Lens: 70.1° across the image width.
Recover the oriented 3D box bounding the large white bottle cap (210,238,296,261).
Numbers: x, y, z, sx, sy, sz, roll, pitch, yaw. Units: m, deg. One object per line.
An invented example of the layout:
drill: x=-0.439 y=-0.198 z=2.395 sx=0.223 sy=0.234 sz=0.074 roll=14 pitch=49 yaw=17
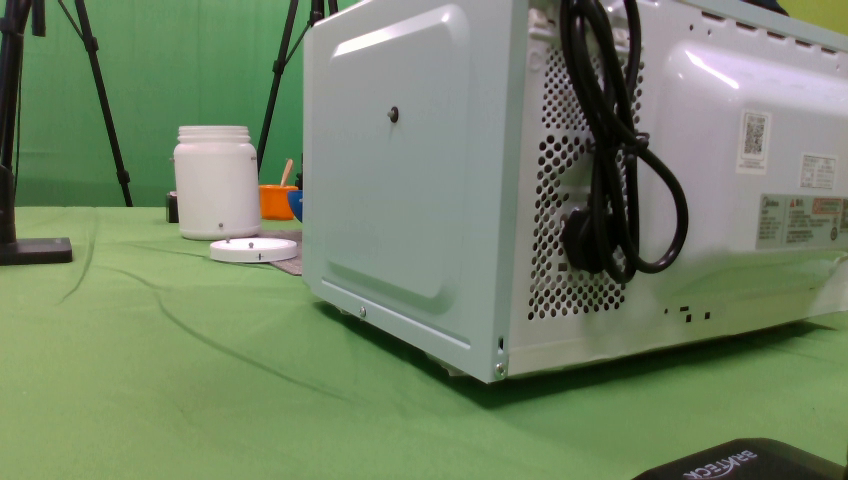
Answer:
large white bottle cap: x=-0.236 y=0.012 z=0.839 sx=0.115 sy=0.018 sz=0.115 roll=1 pitch=7 yaw=0

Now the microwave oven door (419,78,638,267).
microwave oven door: x=0.133 y=-0.105 z=0.894 sx=0.354 sy=0.243 sz=0.039 roll=9 pitch=10 yaw=43

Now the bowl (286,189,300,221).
bowl: x=-0.179 y=-0.051 z=1.115 sx=0.151 sy=0.077 sz=0.151 roll=3 pitch=8 yaw=0

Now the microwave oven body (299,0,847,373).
microwave oven body: x=0.152 y=-0.055 z=0.542 sx=0.444 sy=0.260 sz=0.324 roll=-2 pitch=7 yaw=-33

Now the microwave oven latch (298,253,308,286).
microwave oven latch: x=-0.081 y=0.027 z=0.582 sx=0.079 sy=0.029 sz=0.030 roll=-1 pitch=7 yaw=-32

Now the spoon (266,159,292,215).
spoon: x=-0.334 y=-0.127 z=1.423 sx=0.041 sy=0.193 sz=0.022 roll=0 pitch=-38 yaw=7

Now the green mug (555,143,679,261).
green mug: x=0.181 y=-0.036 z=0.583 sx=0.093 sy=0.105 sz=0.124 roll=-1 pitch=4 yaw=-44

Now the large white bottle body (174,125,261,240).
large white bottle body: x=-0.349 y=-0.100 z=1.025 sx=0.131 sy=0.184 sz=0.130 roll=-1 pitch=9 yaw=0

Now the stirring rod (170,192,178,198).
stirring rod: x=-0.466 y=-0.098 z=1.283 sx=0.014 sy=0.006 sz=0.177 roll=42 pitch=21 yaw=17
